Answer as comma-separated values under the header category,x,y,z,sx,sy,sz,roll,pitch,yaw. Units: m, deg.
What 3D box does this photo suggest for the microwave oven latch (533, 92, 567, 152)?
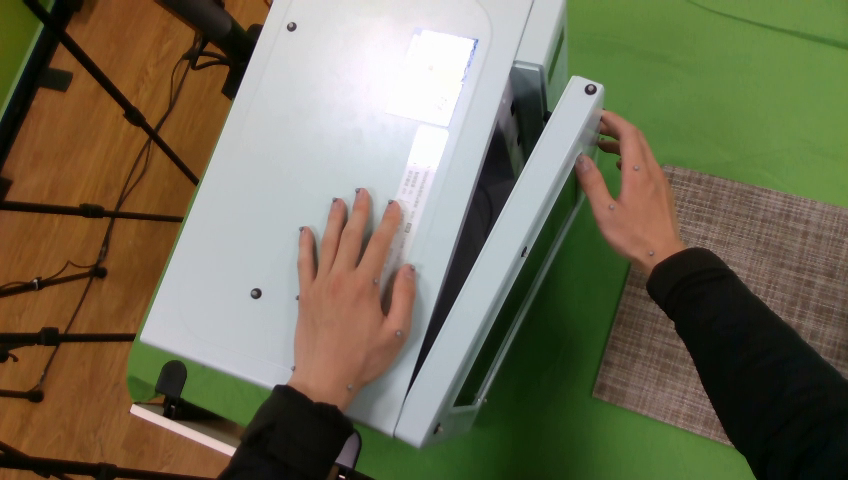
category,x,y,z,sx,sy,sz,roll,pitch,yaw
microwave oven latch,0.160,-0.150,0.769,0.030,0.030,0.079,17,82,16

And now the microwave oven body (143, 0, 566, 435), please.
category,x,y,z,sx,sy,sz,roll,pitch,yaw
microwave oven body,-0.055,-0.046,0.693,0.324,0.262,0.440,16,82,16

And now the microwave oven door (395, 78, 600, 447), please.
category,x,y,z,sx,sy,sz,roll,pitch,yaw
microwave oven door,0.090,0.039,0.634,0.039,0.245,0.355,25,84,18
